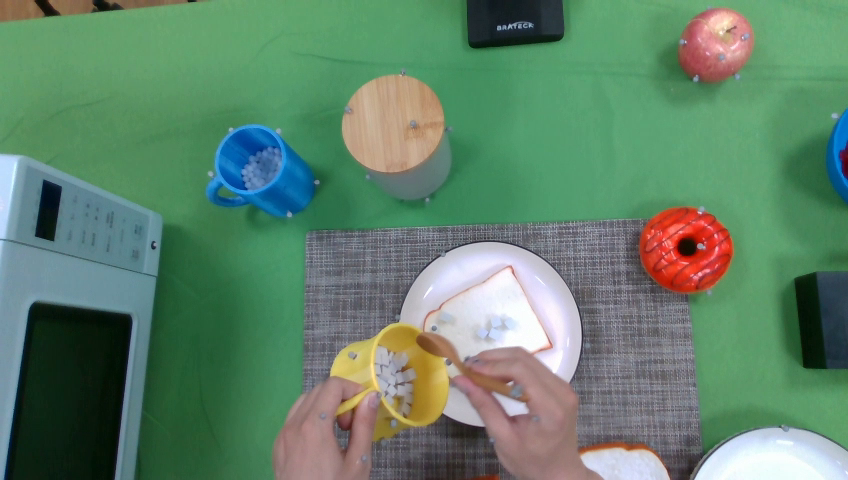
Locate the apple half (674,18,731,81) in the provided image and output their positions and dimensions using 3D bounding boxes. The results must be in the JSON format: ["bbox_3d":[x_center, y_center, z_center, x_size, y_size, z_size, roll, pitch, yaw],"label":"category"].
[{"bbox_3d":[0.311,-0.210,0.699,0.033,0.081,0.081,-34,77,-5],"label":"apple half"}]

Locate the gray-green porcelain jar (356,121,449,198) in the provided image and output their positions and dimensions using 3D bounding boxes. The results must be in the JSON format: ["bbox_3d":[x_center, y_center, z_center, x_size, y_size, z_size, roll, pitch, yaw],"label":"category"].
[{"bbox_3d":[-0.026,-0.110,0.697,0.106,0.127,0.105,-1,79,7],"label":"gray-green porcelain jar"}]

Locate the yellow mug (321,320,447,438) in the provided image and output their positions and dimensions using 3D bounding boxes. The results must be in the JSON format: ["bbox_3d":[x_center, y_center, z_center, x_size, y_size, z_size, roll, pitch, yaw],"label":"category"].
[{"bbox_3d":[-0.044,0.138,0.577,0.064,0.131,0.099,-30,82,38],"label":"yellow mug"}]

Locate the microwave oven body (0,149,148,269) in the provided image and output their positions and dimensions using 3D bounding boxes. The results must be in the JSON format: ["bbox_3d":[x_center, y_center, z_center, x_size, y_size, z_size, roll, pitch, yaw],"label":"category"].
[{"bbox_3d":[-0.511,0.150,0.636,0.326,0.261,0.440,1,81,7],"label":"microwave oven body"}]

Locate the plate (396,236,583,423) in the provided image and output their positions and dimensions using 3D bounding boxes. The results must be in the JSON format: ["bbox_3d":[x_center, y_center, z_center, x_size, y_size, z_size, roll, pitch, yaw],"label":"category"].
[{"bbox_3d":[0.073,0.100,0.689,0.207,0.039,0.207,-1,80,7],"label":"plate"}]

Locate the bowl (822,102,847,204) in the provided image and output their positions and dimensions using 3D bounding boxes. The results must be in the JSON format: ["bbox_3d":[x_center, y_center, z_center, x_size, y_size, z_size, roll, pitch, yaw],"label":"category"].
[{"bbox_3d":[0.499,-0.086,0.653,0.151,0.077,0.151,-1,80,7],"label":"bowl"}]

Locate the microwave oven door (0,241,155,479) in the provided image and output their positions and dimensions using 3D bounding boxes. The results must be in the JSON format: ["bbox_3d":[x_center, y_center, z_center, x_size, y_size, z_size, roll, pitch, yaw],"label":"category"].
[{"bbox_3d":[-0.369,0.194,0.606,0.039,0.245,0.354,1,80,7],"label":"microwave oven door"}]

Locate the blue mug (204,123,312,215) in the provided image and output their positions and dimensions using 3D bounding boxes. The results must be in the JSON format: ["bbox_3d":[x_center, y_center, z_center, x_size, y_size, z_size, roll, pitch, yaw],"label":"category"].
[{"bbox_3d":[-0.203,-0.074,0.722,0.116,0.106,0.082,-27,77,2],"label":"blue mug"}]

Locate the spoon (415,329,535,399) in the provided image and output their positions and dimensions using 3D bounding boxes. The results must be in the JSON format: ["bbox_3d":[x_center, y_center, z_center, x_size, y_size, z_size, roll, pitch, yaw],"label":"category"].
[{"bbox_3d":[0.038,0.104,0.504,0.042,0.192,0.021,44,80,-19],"label":"spoon"}]

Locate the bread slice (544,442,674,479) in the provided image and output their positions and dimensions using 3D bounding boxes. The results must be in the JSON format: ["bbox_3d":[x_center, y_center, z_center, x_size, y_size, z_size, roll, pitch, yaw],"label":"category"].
[{"bbox_3d":[0.198,0.266,0.622,0.135,0.018,0.106,-6,76,-14],"label":"bread slice"}]

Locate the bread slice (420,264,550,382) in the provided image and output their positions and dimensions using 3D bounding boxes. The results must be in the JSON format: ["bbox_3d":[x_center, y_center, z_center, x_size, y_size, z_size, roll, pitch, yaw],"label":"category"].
[{"bbox_3d":[0.063,0.101,0.691,0.131,0.019,0.104,-28,78,1],"label":"bread slice"}]

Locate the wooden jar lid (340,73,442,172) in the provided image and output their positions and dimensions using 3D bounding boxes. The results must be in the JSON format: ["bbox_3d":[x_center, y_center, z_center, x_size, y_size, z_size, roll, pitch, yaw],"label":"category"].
[{"bbox_3d":[-0.034,-0.122,0.636,0.108,0.021,0.108,-2,78,7],"label":"wooden jar lid"}]

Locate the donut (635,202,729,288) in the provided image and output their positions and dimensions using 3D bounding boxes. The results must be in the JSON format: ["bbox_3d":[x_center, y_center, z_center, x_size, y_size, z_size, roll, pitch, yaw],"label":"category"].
[{"bbox_3d":[0.286,0.006,0.676,0.099,0.048,0.098,-1,81,7],"label":"donut"}]

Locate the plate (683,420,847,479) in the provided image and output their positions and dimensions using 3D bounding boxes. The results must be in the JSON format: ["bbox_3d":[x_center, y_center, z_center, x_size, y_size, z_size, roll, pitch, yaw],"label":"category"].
[{"bbox_3d":[0.365,0.291,0.624,0.209,0.038,0.208,-1,80,7],"label":"plate"}]

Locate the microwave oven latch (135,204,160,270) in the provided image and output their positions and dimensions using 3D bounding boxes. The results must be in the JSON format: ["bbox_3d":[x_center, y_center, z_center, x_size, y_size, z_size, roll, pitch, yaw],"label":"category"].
[{"bbox_3d":[-0.345,-0.004,0.742,0.030,0.029,0.079,3,81,7],"label":"microwave oven latch"}]

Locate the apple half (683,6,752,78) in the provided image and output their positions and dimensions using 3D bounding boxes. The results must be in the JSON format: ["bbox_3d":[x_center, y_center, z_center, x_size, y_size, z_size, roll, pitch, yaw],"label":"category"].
[{"bbox_3d":[0.343,-0.232,0.700,0.053,0.075,0.080,-33,73,-5],"label":"apple half"}]
